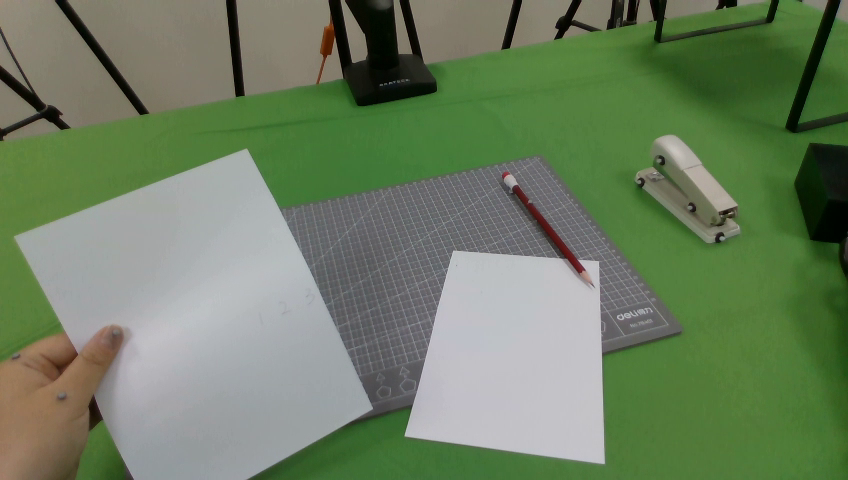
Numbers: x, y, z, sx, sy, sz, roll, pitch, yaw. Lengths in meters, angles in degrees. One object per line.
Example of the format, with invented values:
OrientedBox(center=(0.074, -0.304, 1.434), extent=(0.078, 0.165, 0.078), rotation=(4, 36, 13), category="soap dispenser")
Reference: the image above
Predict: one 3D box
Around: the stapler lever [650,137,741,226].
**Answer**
OrientedBox(center=(0.274, -0.063, 0.616), extent=(0.027, 0.040, 0.116), rotation=(-18, 44, -11), category="stapler lever")

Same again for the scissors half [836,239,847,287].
OrientedBox(center=(0.396, -0.026, 0.539), extent=(0.040, 0.013, 0.174), rotation=(15, 65, 22), category="scissors half")

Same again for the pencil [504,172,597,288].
OrientedBox(center=(0.125, -0.015, 0.619), extent=(0.012, 0.012, 0.191), rotation=(-15, 43, -12), category="pencil")

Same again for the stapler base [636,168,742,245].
OrientedBox(center=(0.274, -0.045, 0.633), extent=(0.041, 0.025, 0.129), rotation=(-18, 43, -11), category="stapler base")
